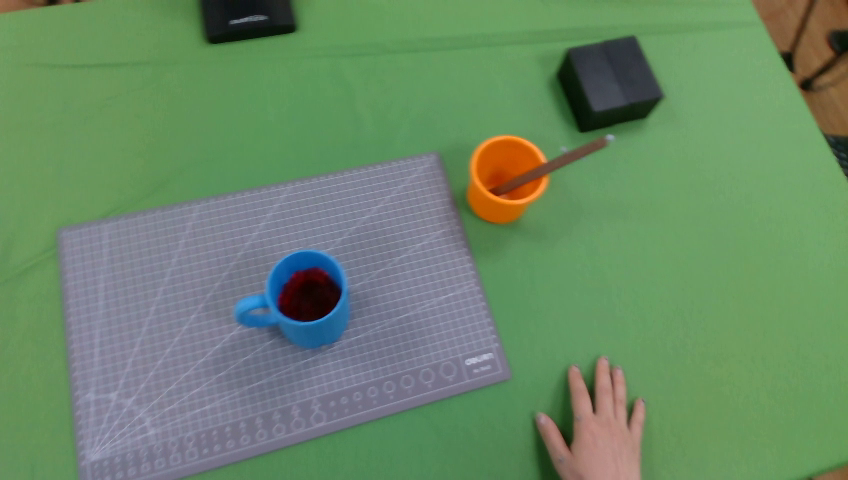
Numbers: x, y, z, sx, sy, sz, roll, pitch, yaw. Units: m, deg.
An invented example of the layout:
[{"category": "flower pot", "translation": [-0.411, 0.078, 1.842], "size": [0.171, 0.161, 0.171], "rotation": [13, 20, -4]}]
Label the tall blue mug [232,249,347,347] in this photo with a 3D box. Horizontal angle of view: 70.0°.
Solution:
[{"category": "tall blue mug", "translation": [-0.131, 0.071, 0.623], "size": [0.107, 0.108, 0.077], "rotation": [-37, 77, -18]}]

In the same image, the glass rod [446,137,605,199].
[{"category": "glass rod", "translation": [0.112, -0.080, 0.699], "size": [0.199, 0.008, 0.008], "rotation": [-19, 66, 27]}]
